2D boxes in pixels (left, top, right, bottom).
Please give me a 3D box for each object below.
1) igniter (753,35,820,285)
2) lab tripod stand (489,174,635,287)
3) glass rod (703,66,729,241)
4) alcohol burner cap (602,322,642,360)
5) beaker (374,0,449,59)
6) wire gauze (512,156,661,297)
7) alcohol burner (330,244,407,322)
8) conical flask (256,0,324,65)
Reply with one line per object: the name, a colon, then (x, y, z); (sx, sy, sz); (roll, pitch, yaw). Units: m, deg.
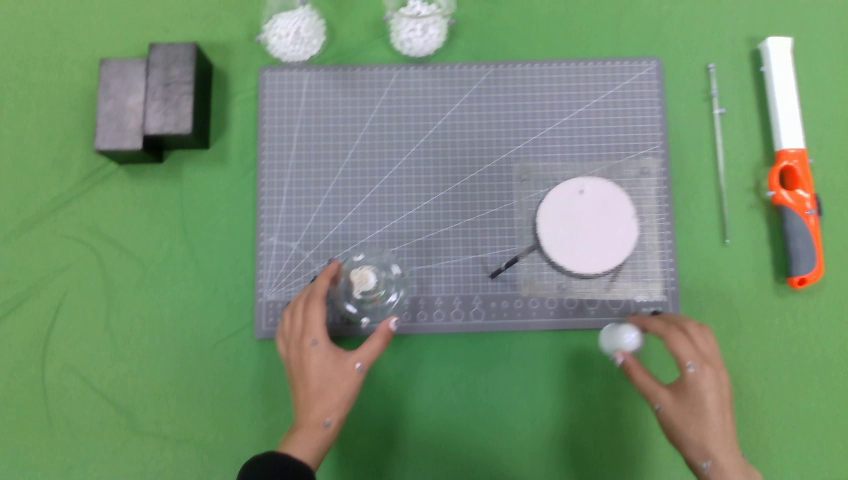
igniter: (0.391, -0.089, 0.655); (0.057, 0.025, 0.275); (-2, 82, -11)
lab tripod stand: (0.136, -0.001, 0.586); (0.148, 0.132, 0.148); (0, 83, 1)
glass rod: (0.321, -0.097, 0.665); (0.008, 0.008, 0.199); (-2, 81, -1)
alcohol burner cap: (0.191, 0.095, 0.577); (0.034, 0.048, 0.033); (-1, 70, 3)
beaker: (-0.011, -0.242, 0.641); (0.084, 0.100, 0.074); (34, 83, 4)
wire gauze: (0.139, -0.012, 0.520); (0.125, 0.011, 0.121); (0, 83, 1)
alcohol burner: (-0.056, 0.041, 0.590); (0.078, 0.119, 0.077); (0, 84, -1)
conical flask: (-0.150, -0.240, 0.629); (0.075, 0.122, 0.075); (0, 81, 0)
